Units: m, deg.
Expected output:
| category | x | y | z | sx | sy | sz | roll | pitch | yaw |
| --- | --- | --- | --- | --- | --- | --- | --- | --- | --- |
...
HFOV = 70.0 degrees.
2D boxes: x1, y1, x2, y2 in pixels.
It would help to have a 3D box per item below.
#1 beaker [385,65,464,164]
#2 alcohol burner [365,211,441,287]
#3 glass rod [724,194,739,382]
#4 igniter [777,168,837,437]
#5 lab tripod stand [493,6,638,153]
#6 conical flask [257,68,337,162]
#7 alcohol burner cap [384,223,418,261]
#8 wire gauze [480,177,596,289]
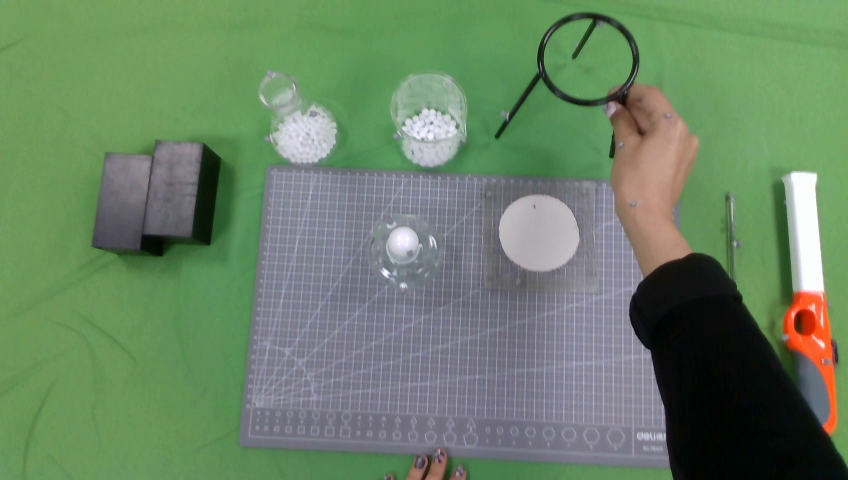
| category | x | y | z | sx | sy | sz | roll | pitch | yaw |
| --- | --- | --- | --- | --- | --- | --- | --- | --- | --- |
| beaker | 0.005 | -0.122 | 0.625 | 0.084 | 0.100 | 0.074 | 38 | 84 | 6 |
| alcohol burner | -0.021 | 0.006 | 0.595 | 0.078 | 0.119 | 0.077 | 0 | 82 | 0 |
| glass rod | 0.324 | 0.048 | 0.638 | 0.008 | 0.008 | 0.199 | 2 | 80 | 1 |
| igniter | 0.394 | 0.061 | 0.626 | 0.057 | 0.025 | 0.275 | 2 | 82 | -9 |
| lab tripod stand | 0.142 | -0.151 | 0.597 | 0.148 | 0.132 | 0.148 | 0 | 81 | 2 |
| conical flask | -0.134 | -0.131 | 0.616 | 0.075 | 0.122 | 0.075 | 0 | 81 | 1 |
| alcohol burner cap | -0.021 | 0.000 | 0.559 | 0.034 | 0.048 | 0.033 | 1 | 81 | -4 |
| wire gauze | 0.122 | -0.009 | 0.649 | 0.125 | 0.011 | 0.121 | 1 | 82 | -1 |
